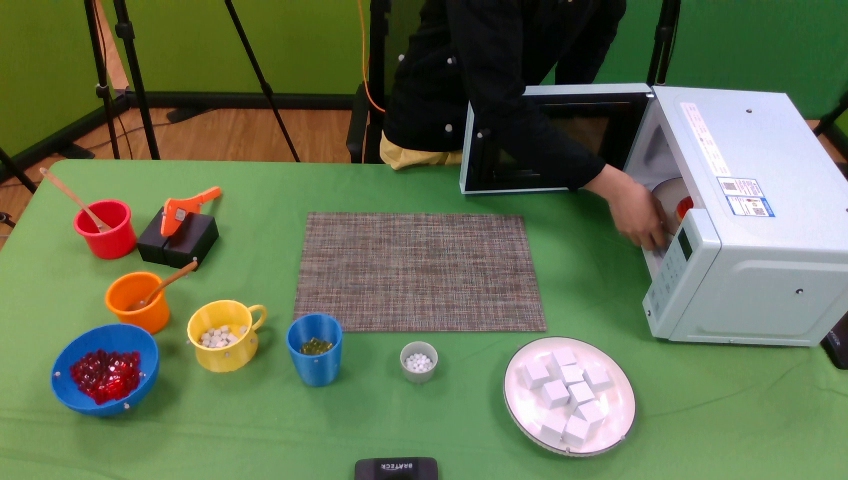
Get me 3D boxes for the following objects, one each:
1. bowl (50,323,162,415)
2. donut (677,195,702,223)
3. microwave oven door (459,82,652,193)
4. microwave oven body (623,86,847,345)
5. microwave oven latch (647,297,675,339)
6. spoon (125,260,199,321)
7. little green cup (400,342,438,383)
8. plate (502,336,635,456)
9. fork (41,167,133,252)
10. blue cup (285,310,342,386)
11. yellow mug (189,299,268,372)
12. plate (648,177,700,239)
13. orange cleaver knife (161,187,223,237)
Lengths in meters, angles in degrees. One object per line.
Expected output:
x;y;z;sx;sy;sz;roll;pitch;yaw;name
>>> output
-0.472;0.209;0.924;0.151;0.077;0.150;3;45;-2;bowl
0.540;-0.049;1.170;0.099;0.048;0.098;2;46;-2;donut
0.259;-0.206;1.238;0.356;0.245;0.039;-3;46;-7;microwave oven door
0.567;-0.053;1.118;0.326;0.261;0.439;2;45;-1;microwave oven body
0.413;0.134;1.061;0.030;0.029;0.078;5;45;2;microwave oven latch
-0.435;0.083;1.000;0.022;0.194;0.041;35;34;-35;spoon
-0.009;0.202;0.991;0.061;0.039;0.061;2;47;-2;little green cup
0.225;0.248;0.963;0.208;0.039;0.206;2;46;-2;plate
-0.624;-0.056;1.121;0.208;0.018;0.028;50;52;-15;fork
-0.170;0.179;0.958;0.093;0.101;0.092;1;44;-1;blue cup
-0.316;0.148;1.002;0.131;0.064;0.099;-32;56;-31;yellow mug
0.540;-0.046;1.177;0.209;0.038;0.208;1;44;0;plate
-0.448;-0.059;1.181;0.012;0.077;0.211;13;17;6;orange cleaver knife
